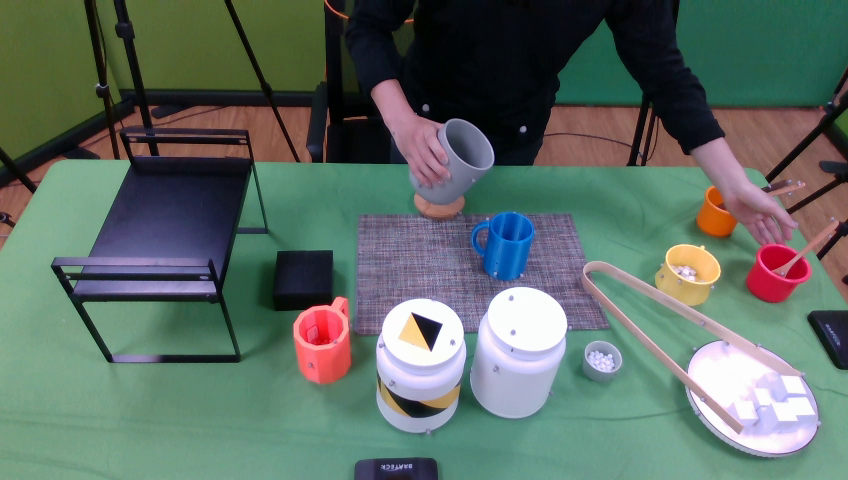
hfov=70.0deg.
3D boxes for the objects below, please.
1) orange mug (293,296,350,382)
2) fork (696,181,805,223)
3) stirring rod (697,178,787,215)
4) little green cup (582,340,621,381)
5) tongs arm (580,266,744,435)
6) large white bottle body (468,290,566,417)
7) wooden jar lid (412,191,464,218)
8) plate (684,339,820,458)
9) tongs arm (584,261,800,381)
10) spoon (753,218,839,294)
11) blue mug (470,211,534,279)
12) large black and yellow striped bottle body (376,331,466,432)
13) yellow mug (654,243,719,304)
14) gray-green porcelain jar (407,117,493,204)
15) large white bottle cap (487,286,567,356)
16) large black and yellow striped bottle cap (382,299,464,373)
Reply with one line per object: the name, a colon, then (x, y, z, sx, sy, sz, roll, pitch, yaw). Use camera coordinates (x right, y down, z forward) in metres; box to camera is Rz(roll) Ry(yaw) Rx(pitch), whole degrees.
orange mug: (-0.158, 0.154, 0.985, 0.083, 0.101, 0.125, 17, 52, 11)
fork: (0.659, -0.077, 1.232, 0.207, 0.019, 0.028, -26, 35, 34)
stirring rod: (0.650, -0.088, 1.246, 0.006, 0.176, 0.014, 29, 50, -39)
little green cup: (0.295, 0.204, 1.014, 0.061, 0.039, 0.061, 2, 45, -2)
tongs arm: (0.384, 0.173, 1.028, 0.028, 0.028, 0.385, -25, 46, -15)
large white bottle body: (0.142, 0.173, 0.930, 0.131, 0.185, 0.130, 3, 47, -3)
wooden jar lid: (0.029, -0.082, 1.276, 0.108, 0.021, 0.107, 3, 43, -3)
plate: (0.523, 0.256, 0.982, 0.208, 0.039, 0.206, 2, 46, -2)
tongs arm: (0.452, 0.137, 1.064, 0.051, 0.027, 0.382, -34, 50, -27)
spoon: (0.700, 0.031, 1.138, 0.194, 0.022, 0.041, -47, 54, 14)
blue mug: (0.141, 0.005, 1.140, 0.116, 0.106, 0.082, 18, 48, 13)
large black and yellow striped bottle body: (-0.007, 0.189, 0.905, 0.131, 0.185, 0.130, 2, 47, -2)
yellow mug: (0.504, 0.054, 1.154, 0.099, 0.064, 0.130, 28, 50, 22)
gray-green porcelain jar: (0.040, -0.130, 1.040, 0.106, 0.126, 0.105, 20, 50, -26)
large white bottle cap: (0.147, 0.114, 0.869, 0.115, 0.018, 0.114, 3, 46, -3)
large black and yellow striped bottle cap: (-0.002, 0.132, 0.843, 0.115, 0.019, 0.114, 2, 47, -2)
